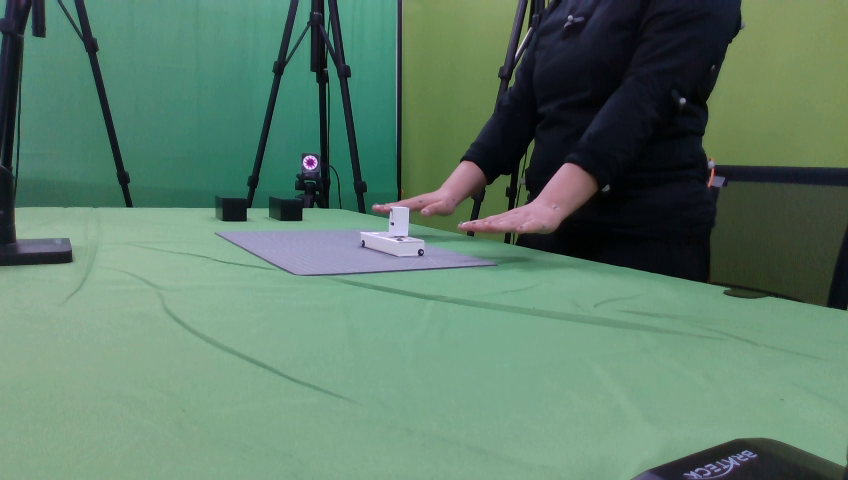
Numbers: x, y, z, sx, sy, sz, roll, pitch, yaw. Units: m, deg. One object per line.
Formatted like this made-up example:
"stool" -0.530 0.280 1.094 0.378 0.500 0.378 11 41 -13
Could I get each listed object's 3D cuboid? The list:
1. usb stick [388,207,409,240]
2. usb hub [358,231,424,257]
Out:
"usb stick" -0.040 -0.021 0.931 0.027 0.059 0.021 -5 11 -37
"usb hub" -0.054 0.005 0.947 0.050 0.025 0.124 -3 9 -34
